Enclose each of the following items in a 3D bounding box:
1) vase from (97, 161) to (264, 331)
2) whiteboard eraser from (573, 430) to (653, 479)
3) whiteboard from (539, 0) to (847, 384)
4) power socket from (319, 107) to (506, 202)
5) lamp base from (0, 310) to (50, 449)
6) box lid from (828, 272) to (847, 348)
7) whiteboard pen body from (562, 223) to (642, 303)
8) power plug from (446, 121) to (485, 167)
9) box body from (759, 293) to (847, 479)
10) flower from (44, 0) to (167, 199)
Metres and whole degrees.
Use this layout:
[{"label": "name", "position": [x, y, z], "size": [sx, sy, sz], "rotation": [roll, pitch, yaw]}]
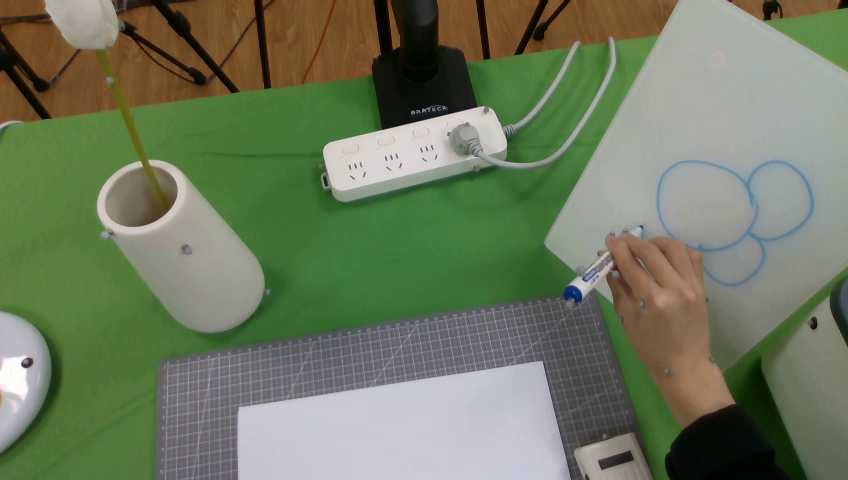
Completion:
[{"label": "vase", "position": [-0.217, 0.012, 0.555], "size": [0.098, 0.201, 0.097], "rotation": [-1, 62, 2]}, {"label": "whiteboard eraser", "position": [0.175, 0.226, 0.524], "size": [0.056, 0.042, 0.111], "rotation": [-13, 63, -8]}, {"label": "whiteboard", "position": [0.281, -0.052, 0.557], "size": [0.144, 0.307, 0.215], "rotation": [-31, 64, -35]}, {"label": "power socket", "position": [-0.012, -0.101, 0.704], "size": [0.227, 0.033, 0.071], "rotation": [-14, 64, -7]}, {"label": "lamp base", "position": [-0.460, 0.101, 0.522], "size": [0.178, 0.182, 0.160], "rotation": [20, 64, 14]}, {"label": "box lid", "position": [0.466, 0.165, 0.403], "size": [0.263, 0.015, 0.368], "rotation": [-10, 64, -5]}, {"label": "whiteboard pen body", "position": [0.157, 0.014, 0.519], "size": [0.017, 0.017, 0.141], "rotation": [39, 46, 20]}, {"label": "power plug", "position": [0.045, -0.100, 0.677], "size": [0.035, 0.053, 0.072], "rotation": [-5, 64, -1]}, {"label": "box body", "position": [0.467, 0.202, 0.468], "size": [0.254, 0.161, 0.360], "rotation": [-10, 63, -4]}, {"label": "flower", "position": [-0.215, -0.044, 0.491], "size": [0.038, 0.365, 0.043], "rotation": [-20, 46, -17]}]
